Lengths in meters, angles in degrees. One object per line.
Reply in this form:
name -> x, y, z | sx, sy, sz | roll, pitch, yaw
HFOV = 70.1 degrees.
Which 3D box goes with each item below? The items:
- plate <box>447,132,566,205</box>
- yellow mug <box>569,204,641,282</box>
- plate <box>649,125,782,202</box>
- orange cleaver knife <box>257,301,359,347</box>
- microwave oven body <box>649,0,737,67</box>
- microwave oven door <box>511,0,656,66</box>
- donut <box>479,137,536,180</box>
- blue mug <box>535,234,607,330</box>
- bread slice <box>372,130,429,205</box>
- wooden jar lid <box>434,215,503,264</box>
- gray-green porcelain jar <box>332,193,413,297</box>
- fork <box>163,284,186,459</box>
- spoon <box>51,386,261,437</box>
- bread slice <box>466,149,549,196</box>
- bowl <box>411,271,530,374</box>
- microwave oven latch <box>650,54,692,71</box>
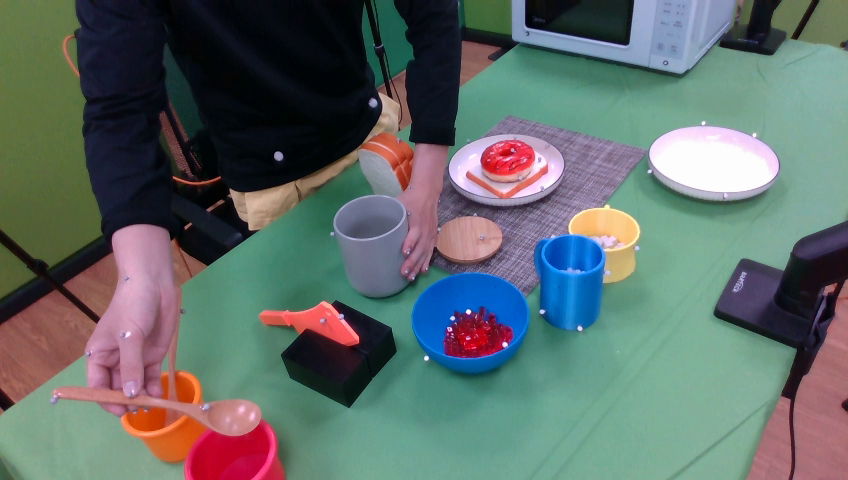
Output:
plate -> 0.146, -0.124, 1.076 | 0.209, 0.038, 0.208 | -3, 41, 3
yellow mug -> 0.268, -0.005, 0.904 | 0.099, 0.064, 0.130 | 7, 41, 15
plate -> 0.493, -0.127, 1.036 | 0.207, 0.039, 0.206 | -4, 41, 4
orange cleaver knife -> -0.160, 0.115, 0.813 | 0.210, 0.077, 0.012 | -9, 30, 48
microwave oven body -> 0.475, -0.602, 1.411 | 0.438, 0.261, 0.327 | 23, 50, 32
microwave oven door -> 0.351, -0.539, 1.348 | 0.353, 0.245, 0.039 | 24, 50, 31
donut -> 0.145, -0.143, 1.056 | 0.099, 0.048, 0.098 | -6, 42, 6
blue mug -> 0.191, 0.048, 0.824 | 0.082, 0.106, 0.115 | -26, 44, -20
bread slice -> -0.044, -0.126, 1.038 | 0.106, 0.135, 0.018 | 31, 61, 34
wooden jar lid -> 0.070, 0.001, 0.956 | 0.108, 0.021, 0.108 | -4, 40, 4
gray-green porcelain jar -> -0.071, 0.012, 0.887 | 0.106, 0.127, 0.105 | -4, 41, 4
fork -> -0.303, 0.157, 0.733 | 0.028, 0.019, 0.207 | -3, 84, 14
spoon -> -0.258, 0.163, 0.598 | 0.195, 0.021, 0.041 | 20, 46, -28
bread slice -> 0.156, -0.128, 1.084 | 0.132, 0.019, 0.104 | -34, 48, -23
bowl -> 0.062, 0.120, 0.780 | 0.151, 0.077, 0.150 | -4, 40, 4
microwave oven latch -> 0.531, -0.386, 1.301 | 0.078, 0.029, 0.030 | 25, 51, 33
